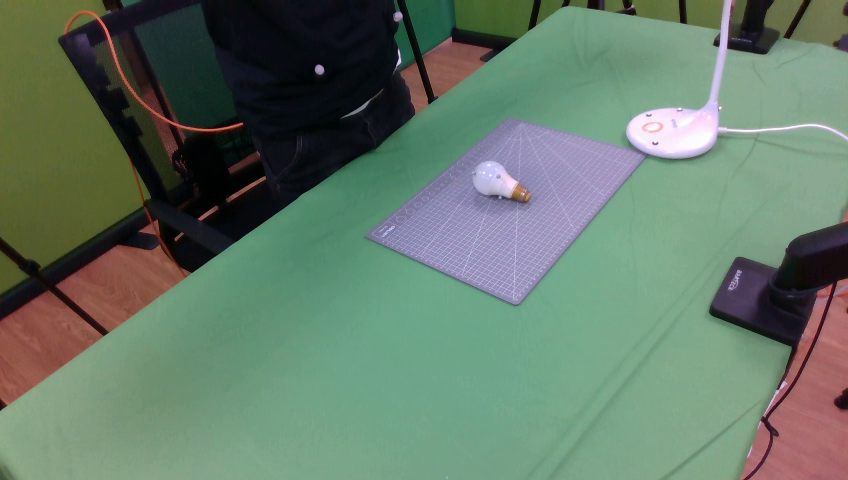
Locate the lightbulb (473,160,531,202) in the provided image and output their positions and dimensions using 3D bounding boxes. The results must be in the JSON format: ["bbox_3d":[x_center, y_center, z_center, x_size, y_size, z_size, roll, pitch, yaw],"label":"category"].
[{"bbox_3d":[0.134,-0.097,1.038,0.107,0.059,0.059,29,50,15],"label":"lightbulb"}]

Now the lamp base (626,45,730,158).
[{"bbox_3d":[0.467,-0.262,1.085,0.179,0.181,0.159,-5,41,-1],"label":"lamp base"}]
